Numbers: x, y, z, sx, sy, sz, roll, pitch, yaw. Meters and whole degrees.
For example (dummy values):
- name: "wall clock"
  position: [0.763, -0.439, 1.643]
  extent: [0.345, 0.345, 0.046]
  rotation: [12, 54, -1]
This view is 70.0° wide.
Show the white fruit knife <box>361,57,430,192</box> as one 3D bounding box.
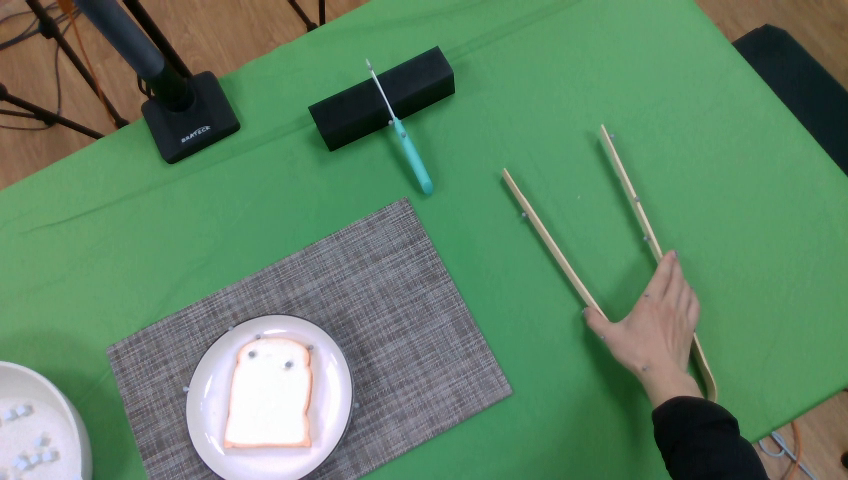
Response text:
- name: "white fruit knife"
  position: [-0.042, -0.161, 0.833]
  extent: [0.016, 0.027, 0.207]
  rotation: [-26, 86, -5]

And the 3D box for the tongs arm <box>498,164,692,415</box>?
- name: "tongs arm"
  position: [0.203, 0.055, 0.768]
  extent: [0.028, 0.028, 0.385]
  rotation: [-30, 73, -8]

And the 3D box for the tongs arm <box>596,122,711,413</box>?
- name: "tongs arm"
  position: [0.275, 0.024, 0.768]
  extent: [0.051, 0.027, 0.382]
  rotation: [-19, 73, -1]

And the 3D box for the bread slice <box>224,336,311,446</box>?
- name: "bread slice"
  position: [-0.193, 0.187, 0.754]
  extent: [0.107, 0.018, 0.133]
  rotation: [-5, 74, 3]

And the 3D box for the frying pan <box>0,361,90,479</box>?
- name: "frying pan"
  position: [-0.551, 0.387, 0.687]
  extent: [0.306, 0.103, 0.484]
  rotation: [3, 64, 7]

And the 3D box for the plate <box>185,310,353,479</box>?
- name: "plate"
  position: [-0.187, 0.192, 0.750]
  extent: [0.207, 0.039, 0.206]
  rotation: [-1, 72, 5]
